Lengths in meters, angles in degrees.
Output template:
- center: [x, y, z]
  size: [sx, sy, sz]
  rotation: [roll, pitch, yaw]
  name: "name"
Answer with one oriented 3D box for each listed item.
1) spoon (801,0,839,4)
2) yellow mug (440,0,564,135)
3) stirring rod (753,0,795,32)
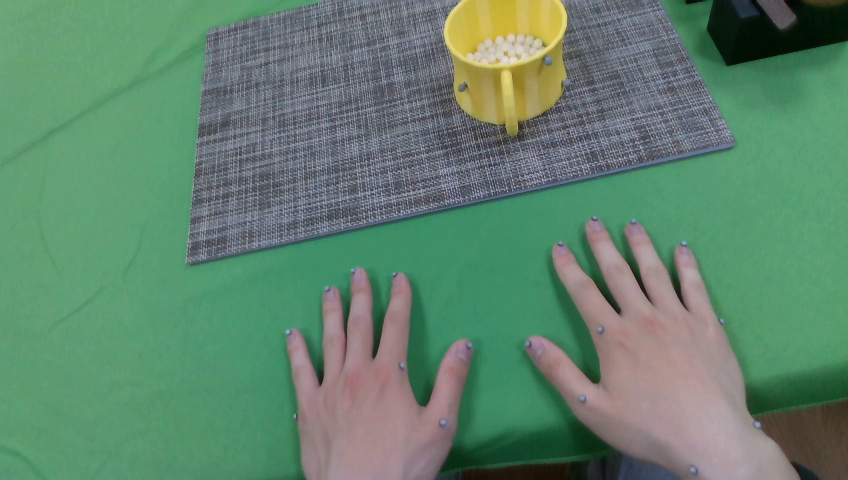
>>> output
- center: [0.294, -0.249, 0.495]
  size: [0.041, 0.022, 0.192]
  rotation: [-7, 57, 6]
  name: "spoon"
- center: [0.068, -0.146, 0.507]
  size: [0.100, 0.064, 0.129]
  rotation: [-5, 59, 9]
  name: "yellow mug"
- center: [0.254, -0.231, 0.498]
  size: [0.014, 0.006, 0.174]
  rotation: [-34, 54, 30]
  name: "stirring rod"
